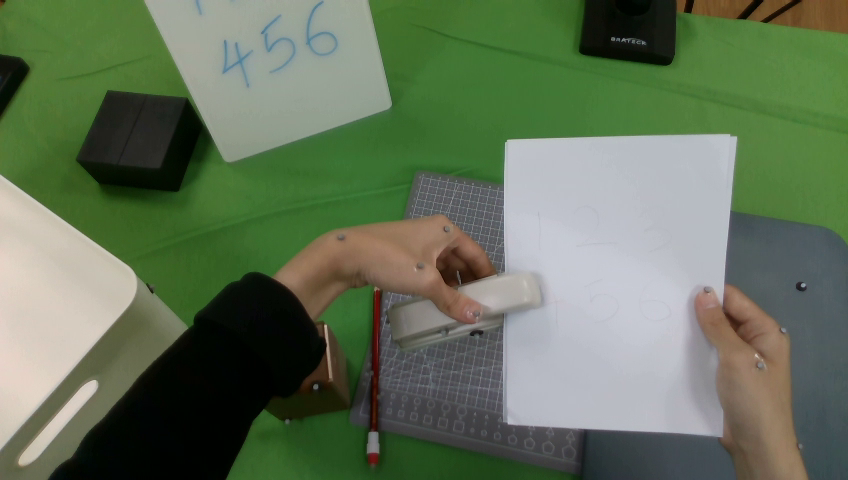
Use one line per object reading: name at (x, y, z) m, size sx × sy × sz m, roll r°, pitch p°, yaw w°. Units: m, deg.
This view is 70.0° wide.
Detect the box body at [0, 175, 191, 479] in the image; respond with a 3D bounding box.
box body at (-0.441, 0.073, 0.568) m, size 0.362 × 0.161 × 0.253 m, roll 30°, pitch 69°, yaw 15°

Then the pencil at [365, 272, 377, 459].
pencil at (-0.053, 0.122, 0.618) m, size 0.012 × 0.012 × 0.192 m, roll -2°, pitch 65°, yaw 1°

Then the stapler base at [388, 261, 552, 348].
stapler base at (0.030, 0.049, 0.461) m, size 0.130 × 0.024 × 0.041 m, roll -18°, pitch 73°, yaw 18°

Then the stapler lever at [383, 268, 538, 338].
stapler lever at (0.025, 0.047, 0.446) m, size 0.118 × 0.040 × 0.026 m, roll -15°, pitch 74°, yaw 8°

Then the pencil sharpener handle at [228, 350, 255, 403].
pencil sharpener handle at (-0.169, 0.129, 0.552) m, size 0.030 × 0.068 × 0.035 m, roll -10°, pitch 49°, yaw -3°

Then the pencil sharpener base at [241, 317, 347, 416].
pencil sharpener base at (-0.119, 0.122, 0.568) m, size 0.077 × 0.108 × 0.061 m, roll -10°, pitch 65°, yaw -3°

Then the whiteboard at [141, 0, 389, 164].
whiteboard at (-0.188, -0.278, 0.683) m, size 0.217 × 0.308 × 0.142 m, roll -21°, pitch 46°, yaw -7°

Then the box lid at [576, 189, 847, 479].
box lid at (0.300, 0.122, 0.610) m, size 0.263 × 0.015 × 0.369 m, roll 10°, pitch 66°, yaw 5°
